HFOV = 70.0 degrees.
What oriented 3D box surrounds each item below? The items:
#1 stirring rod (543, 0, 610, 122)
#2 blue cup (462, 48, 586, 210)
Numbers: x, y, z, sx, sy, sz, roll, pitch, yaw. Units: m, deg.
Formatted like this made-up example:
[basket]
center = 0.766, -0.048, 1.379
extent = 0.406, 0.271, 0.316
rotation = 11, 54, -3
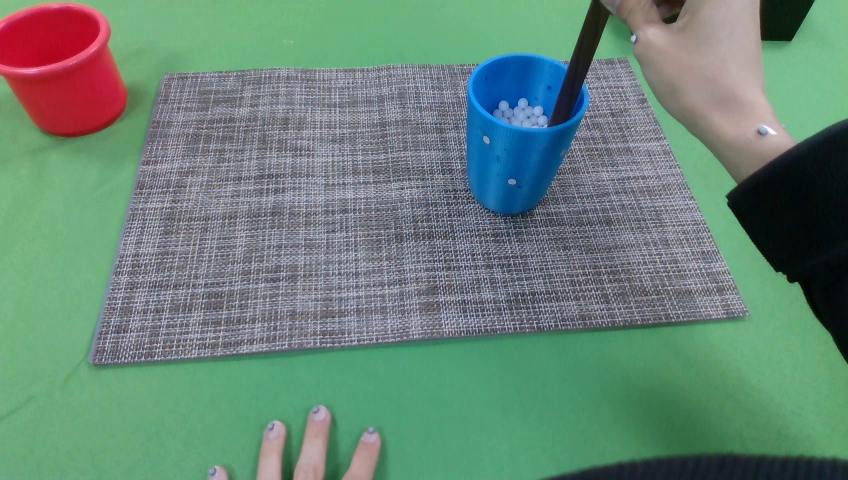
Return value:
[stirring rod]
center = 0.104, -0.135, 0.383
extent = 0.014, 0.177, 0.006
rotation = 16, 53, 3
[blue cup]
center = 0.066, -0.076, 0.457
extent = 0.093, 0.101, 0.091
rotation = 2, 53, -3
